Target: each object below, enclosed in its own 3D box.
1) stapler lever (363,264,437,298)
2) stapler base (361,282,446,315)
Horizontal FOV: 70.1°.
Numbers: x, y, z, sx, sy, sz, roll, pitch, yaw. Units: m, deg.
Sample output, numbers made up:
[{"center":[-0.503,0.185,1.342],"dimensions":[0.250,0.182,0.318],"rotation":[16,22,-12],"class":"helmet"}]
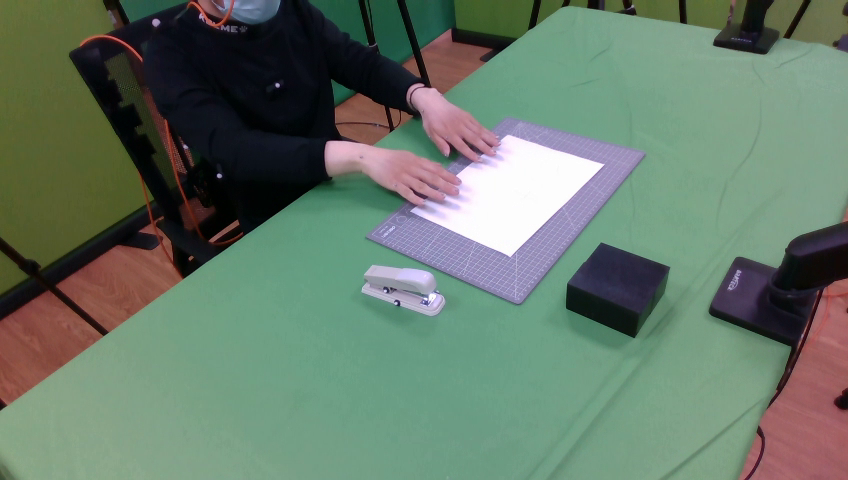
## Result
[{"center":[-0.036,0.054,0.873],"dimensions":[0.117,0.040,0.027],"rotation":[14,42,26],"class":"stapler lever"},{"center":[-0.032,0.073,0.889],"dimensions":[0.130,0.024,0.041],"rotation":[14,42,26],"class":"stapler base"}]
